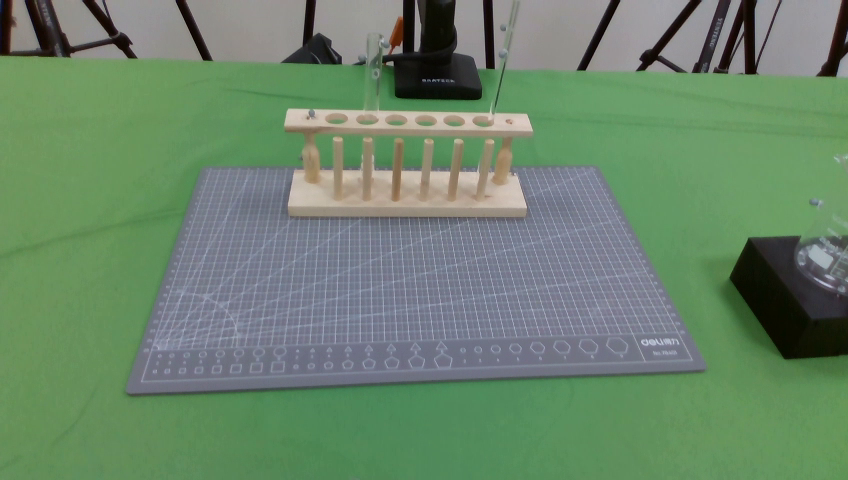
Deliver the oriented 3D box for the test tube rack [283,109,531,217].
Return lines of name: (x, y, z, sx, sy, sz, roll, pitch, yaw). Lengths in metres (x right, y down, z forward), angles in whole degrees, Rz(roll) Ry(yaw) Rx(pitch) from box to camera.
test tube rack: (-0.016, -0.077, 0.615, 0.243, 0.086, 0.066, 0, 41, -5)

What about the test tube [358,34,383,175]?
test tube: (-0.053, -0.127, 0.594, 0.017, 0.151, 0.017, 6, 39, -4)

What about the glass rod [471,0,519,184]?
glass rod: (0.066, -0.135, 0.587, 0.008, 0.201, 0.008, 6, 42, -5)

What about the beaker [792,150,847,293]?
beaker: (0.350, -0.014, 0.488, 0.074, 0.101, 0.083, -23, 46, -28)
